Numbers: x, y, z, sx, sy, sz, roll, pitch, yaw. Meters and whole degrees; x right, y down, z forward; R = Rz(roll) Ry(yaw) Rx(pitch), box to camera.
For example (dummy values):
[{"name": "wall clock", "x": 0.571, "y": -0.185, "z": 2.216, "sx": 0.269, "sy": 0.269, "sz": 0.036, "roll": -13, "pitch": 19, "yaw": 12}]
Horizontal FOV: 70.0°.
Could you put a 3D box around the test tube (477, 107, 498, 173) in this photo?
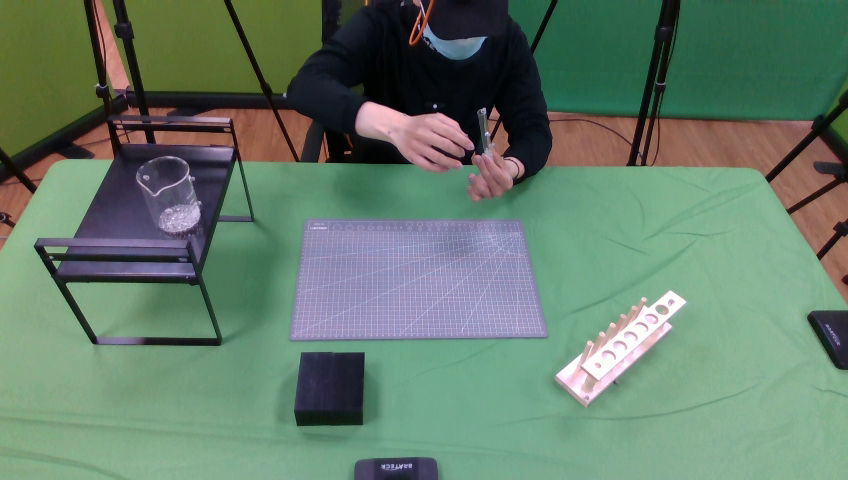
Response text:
[{"name": "test tube", "x": 0.115, "y": -0.174, "z": 1.080, "sx": 0.017, "sy": 0.151, "sz": 0.017, "roll": -8, "pitch": 49, "yaw": 10}]

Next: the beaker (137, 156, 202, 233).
[{"name": "beaker", "x": -0.385, "y": -0.065, "z": 0.925, "sx": 0.074, "sy": 0.101, "sz": 0.083, "roll": 2, "pitch": 47, "yaw": -1}]

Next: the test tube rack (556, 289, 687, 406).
[{"name": "test tube rack", "x": 0.332, "y": 0.166, "z": 1.014, "sx": 0.242, "sy": 0.085, "sz": 0.066, "roll": -30, "pitch": 55, "yaw": -28}]
